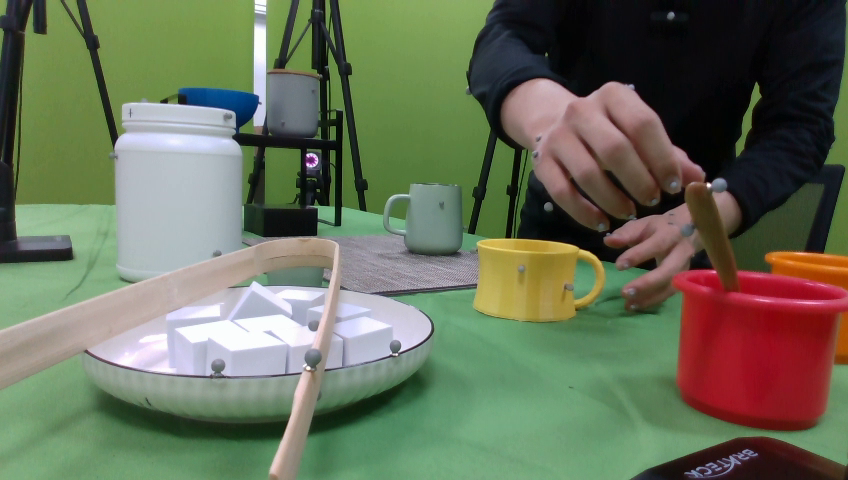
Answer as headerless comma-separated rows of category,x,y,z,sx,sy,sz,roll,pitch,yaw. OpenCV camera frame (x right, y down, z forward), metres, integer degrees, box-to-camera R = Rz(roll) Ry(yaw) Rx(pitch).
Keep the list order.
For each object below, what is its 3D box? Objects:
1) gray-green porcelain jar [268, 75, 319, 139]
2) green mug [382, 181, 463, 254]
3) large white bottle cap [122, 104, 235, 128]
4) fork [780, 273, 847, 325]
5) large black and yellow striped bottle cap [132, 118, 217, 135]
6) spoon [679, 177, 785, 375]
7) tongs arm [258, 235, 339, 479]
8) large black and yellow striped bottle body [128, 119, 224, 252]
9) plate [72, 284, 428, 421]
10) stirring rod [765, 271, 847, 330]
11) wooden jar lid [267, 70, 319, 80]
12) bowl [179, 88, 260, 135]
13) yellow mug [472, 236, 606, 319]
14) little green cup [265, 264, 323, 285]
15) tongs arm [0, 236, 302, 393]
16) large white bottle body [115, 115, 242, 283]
gray-green porcelain jar,-0.277,-0.278,1.280,0.106,0.126,0.106,2,8,0
green mug,-0.001,-0.036,0.922,0.126,0.105,0.092,0,8,-16
large white bottle cap,-0.266,-0.135,0.663,0.115,0.018,0.115,3,7,0
fork,0.332,0.018,0.443,0.028,0.018,0.207,-2,-35,-16
large black and yellow striped bottle cap,-0.359,-0.164,0.875,0.115,0.019,0.115,2,6,0
spoon,0.168,0.028,0.337,0.041,0.021,0.194,8,-35,43
tongs arm,-0.074,0.040,0.345,0.051,0.026,0.384,-1,10,-3
large black and yellow striped bottle body,-0.361,-0.081,0.887,0.131,0.184,0.130,2,8,0
plate,-0.102,0.066,0.381,0.208,0.039,0.207,3,7,0
stirring rod,0.352,0.020,0.481,0.176,0.006,0.014,-40,-8,17
wooden jar lid,-0.275,-0.339,1.271,0.108,0.020,0.108,5,6,0
bowl,-0.400,-0.248,1.188,0.151,0.077,0.151,2,6,0
yellow mug,0.114,0.034,0.590,0.131,0.064,0.100,3,6,-7
little green cup,-0.134,0.034,0.628,0.061,0.038,0.061,3,7,0
tongs arm,-0.157,0.038,0.347,0.028,0.028,0.388,-3,8,11
large white bottle body,-0.270,-0.051,0.673,0.131,0.184,0.130,2,8,0
